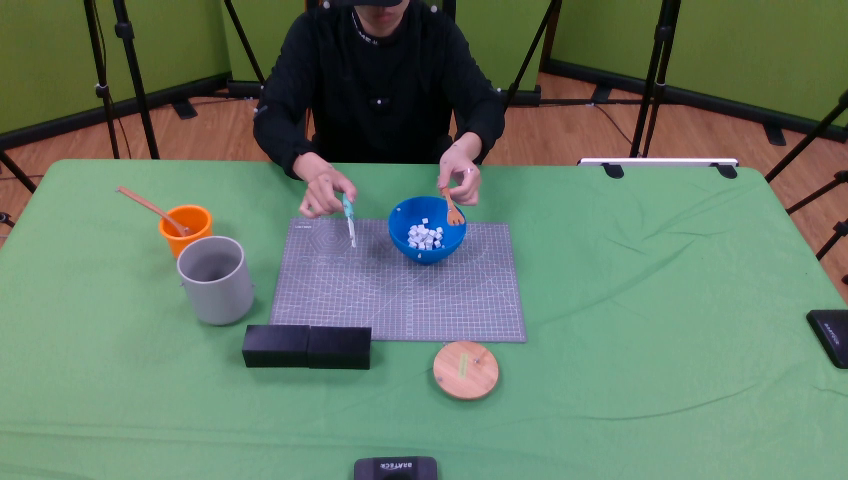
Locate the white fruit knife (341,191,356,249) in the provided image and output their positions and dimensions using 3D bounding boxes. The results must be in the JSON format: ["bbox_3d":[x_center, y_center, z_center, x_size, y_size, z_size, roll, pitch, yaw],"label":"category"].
[{"bbox_3d":[-0.132,-0.039,1.067,0.016,0.027,0.206,-26,31,4],"label":"white fruit knife"}]

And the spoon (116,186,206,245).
[{"bbox_3d":[-0.474,-0.041,1.112,0.021,0.195,0.041,-31,31,29],"label":"spoon"}]

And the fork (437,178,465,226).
[{"bbox_3d":[0.043,-0.070,1.064,0.028,0.019,0.206,-20,31,3],"label":"fork"}]

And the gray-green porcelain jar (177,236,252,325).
[{"bbox_3d":[-0.350,0.073,1.027,0.106,0.127,0.105,3,46,-3],"label":"gray-green porcelain jar"}]

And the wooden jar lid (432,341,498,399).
[{"bbox_3d":[0.067,0.216,0.997,0.108,0.021,0.107,1,46,-1],"label":"wooden jar lid"}]

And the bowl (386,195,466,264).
[{"bbox_3d":[0.002,-0.008,1.162,0.151,0.077,0.150,3,46,-2],"label":"bowl"}]
